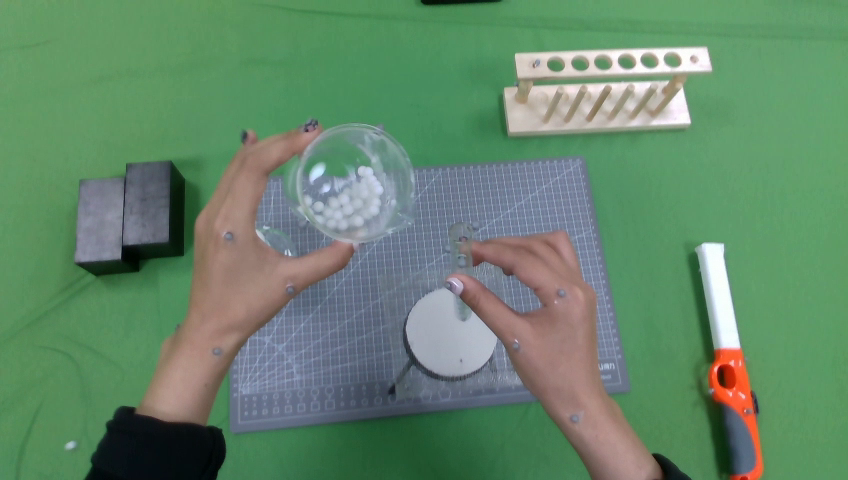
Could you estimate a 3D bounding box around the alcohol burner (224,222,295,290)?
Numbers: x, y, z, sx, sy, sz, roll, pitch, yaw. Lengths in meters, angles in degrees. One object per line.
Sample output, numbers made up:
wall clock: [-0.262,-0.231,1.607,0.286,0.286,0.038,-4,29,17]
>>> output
alcohol burner: [-0.183,0.012,0.662,0.078,0.120,0.077,1,70,-2]

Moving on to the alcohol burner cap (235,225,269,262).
alcohol burner cap: [-0.179,0.001,0.628,0.034,0.048,0.033,2,74,-7]

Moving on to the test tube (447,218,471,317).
test tube: [0.026,0.026,0.444,0.017,0.151,0.017,-1,63,3]

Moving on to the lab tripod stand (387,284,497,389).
lab tripod stand: [0.018,0.102,0.637,0.148,0.132,0.147,1,71,-2]

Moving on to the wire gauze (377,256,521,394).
wire gauze: [0.023,0.078,0.574,0.125,0.011,0.120,-6,71,-6]

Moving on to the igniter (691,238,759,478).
igniter: [0.351,0.131,0.709,0.057,0.025,0.275,3,72,-13]

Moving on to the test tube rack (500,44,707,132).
test tube rack: [0.226,-0.192,0.773,0.243,0.085,0.066,-3,72,-5]

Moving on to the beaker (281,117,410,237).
beaker: [-0.057,-0.040,0.418,0.084,0.099,0.074,32,84,-19]
